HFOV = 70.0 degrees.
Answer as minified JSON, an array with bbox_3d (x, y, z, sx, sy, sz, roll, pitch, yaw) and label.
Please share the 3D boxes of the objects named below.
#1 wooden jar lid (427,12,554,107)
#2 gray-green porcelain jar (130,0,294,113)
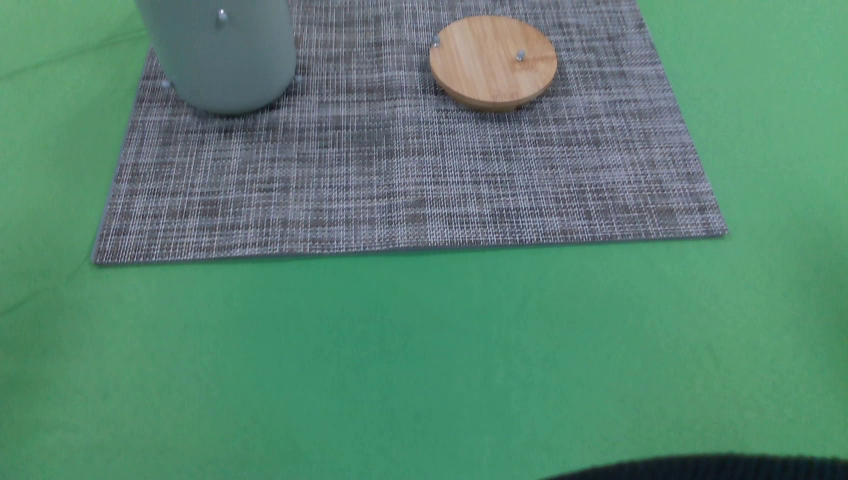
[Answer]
[{"bbox_3d":[0.056,-0.153,0.519,0.108,0.021,0.107,0,56,0],"label":"wooden jar lid"},{"bbox_3d":[-0.158,-0.170,0.459,0.106,0.127,0.105,1,57,-1],"label":"gray-green porcelain jar"}]
